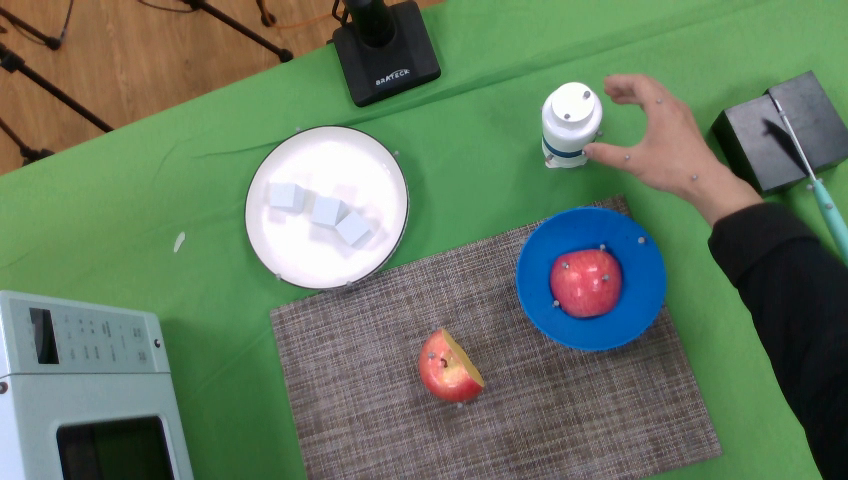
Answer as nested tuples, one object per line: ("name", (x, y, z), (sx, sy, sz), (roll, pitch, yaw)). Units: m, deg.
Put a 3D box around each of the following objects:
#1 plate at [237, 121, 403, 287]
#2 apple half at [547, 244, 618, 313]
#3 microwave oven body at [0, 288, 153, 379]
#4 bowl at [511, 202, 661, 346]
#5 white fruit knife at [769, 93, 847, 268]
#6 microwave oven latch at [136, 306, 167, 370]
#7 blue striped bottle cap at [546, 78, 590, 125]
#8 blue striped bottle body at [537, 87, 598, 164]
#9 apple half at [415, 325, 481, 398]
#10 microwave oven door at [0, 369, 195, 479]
("plate", (-0.125, -0.042, 0.749), (0.207, 0.039, 0.207), (-2, 79, 9))
("apple half", (0.172, 0.040, 0.651), (0.081, 0.033, 0.081), (-2, 79, 11))
("microwave oven body", (-0.441, 0.315, 0.618), (0.326, 0.261, 0.439), (-20, 77, 5))
("bowl", (0.171, 0.041, 0.656), (0.151, 0.077, 0.151), (-2, 80, 11))
("white fruit knife", (0.406, -0.061, 0.633), (0.016, 0.027, 0.207), (-27, 93, 22))
("microwave oven latch", (-0.340, 0.121, 0.737), (0.030, 0.029, 0.078), (-20, 77, 5))
("blue striped bottle cap", (0.148, -0.143, 0.623), (0.044, 0.021, 0.044), (-2, 78, 8))
("blue striped bottle body", (0.158, -0.132, 0.672), (0.063, 0.121, 0.063), (-2, 79, 9))
("apple half", (0.020, 0.140, 0.667), (0.053, 0.075, 0.080), (-38, 79, 5))
("microwave oven door", (-0.291, 0.303, 0.590), (0.039, 0.245, 0.354), (-21, 77, 6))
